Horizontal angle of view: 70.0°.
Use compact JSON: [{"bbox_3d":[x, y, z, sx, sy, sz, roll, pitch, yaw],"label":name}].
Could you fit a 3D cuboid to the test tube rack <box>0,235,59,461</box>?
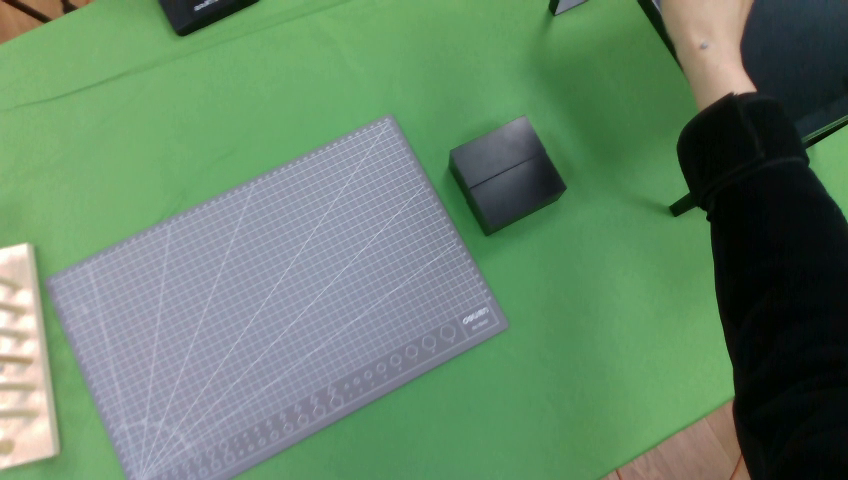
[{"bbox_3d":[-0.458,0.109,0.642,0.067,0.085,0.241,-13,79,-4],"label":"test tube rack"}]
